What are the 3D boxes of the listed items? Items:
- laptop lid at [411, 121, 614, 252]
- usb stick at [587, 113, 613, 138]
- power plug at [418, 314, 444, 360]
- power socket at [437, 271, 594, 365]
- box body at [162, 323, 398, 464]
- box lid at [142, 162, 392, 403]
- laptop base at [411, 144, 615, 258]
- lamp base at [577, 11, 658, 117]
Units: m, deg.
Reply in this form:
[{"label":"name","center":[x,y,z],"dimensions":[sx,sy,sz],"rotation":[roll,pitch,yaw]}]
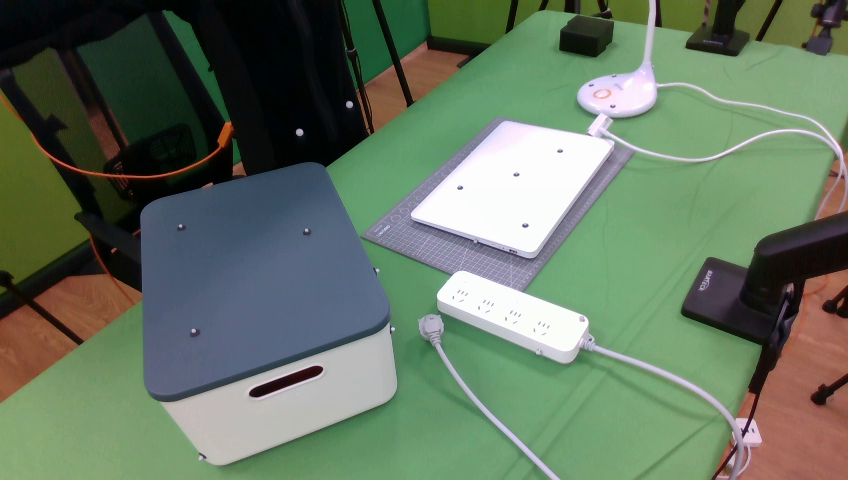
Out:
[{"label":"laptop lid","center":[0.164,-0.112,1.068],"dimensions":[0.240,0.013,0.357],"rotation":[19,46,30]},{"label":"usb stick","center":[0.329,-0.210,1.149],"dimensions":[0.022,0.059,0.027],"rotation":[29,19,-27]},{"label":"power plug","center":[0.009,0.133,0.804],"dimensions":[0.035,0.053,0.072],"rotation":[0,57,4]},{"label":"power socket","center":[0.118,0.103,0.829],"dimensions":[0.225,0.033,0.072],"rotation":[20,49,28]},{"label":"box body","center":[-0.205,0.080,0.802],"dimensions":[0.255,0.161,0.361],"rotation":[-18,41,-13]},{"label":"box lid","center":[-0.212,0.024,0.752],"dimensions":[0.264,0.015,0.368],"rotation":[-17,41,-13]},{"label":"laptop base","center":[0.167,-0.102,1.074],"dimensions":[0.234,0.023,0.355],"rotation":[16,45,30]},{"label":"lamp base","center":[0.407,-0.365,1.223],"dimensions":[0.180,0.181,0.159],"rotation":[-20,42,-18]}]
